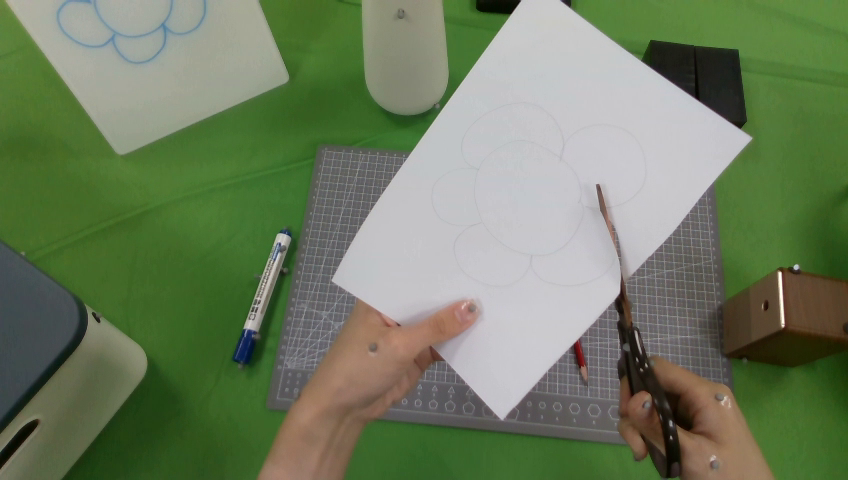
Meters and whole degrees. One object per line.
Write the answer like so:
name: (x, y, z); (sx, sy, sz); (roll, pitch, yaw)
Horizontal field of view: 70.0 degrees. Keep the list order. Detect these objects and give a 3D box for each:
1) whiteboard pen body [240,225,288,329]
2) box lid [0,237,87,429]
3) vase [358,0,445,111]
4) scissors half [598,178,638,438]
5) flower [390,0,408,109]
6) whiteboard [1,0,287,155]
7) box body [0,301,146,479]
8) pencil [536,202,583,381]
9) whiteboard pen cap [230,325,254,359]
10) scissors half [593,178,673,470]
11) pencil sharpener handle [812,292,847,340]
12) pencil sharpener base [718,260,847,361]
whiteboard pen body: (-0.167, 0.048, 0.623); (0.017, 0.017, 0.140); (11, 66, 5)
box lid: (-0.472, 0.062, 0.459); (0.370, 0.015, 0.262); (31, 70, 12)
vase: (-0.026, -0.227, 0.641); (0.098, 0.201, 0.097); (0, 66, 1)
scissors half: (0.121, 0.045, 0.374); (0.013, 0.040, 0.176); (-12, 111, 6)
flower: (-0.033, -0.273, 0.570); (0.044, 0.365, 0.038); (-2, 50, 3)
whiteboard: (-0.316, -0.286, 0.641); (0.217, 0.308, 0.142); (-27, 50, -10)
box body: (-0.470, 0.092, 0.527); (0.362, 0.161, 0.253); (30, 71, 12)
pencil: (0.141, 0.049, 0.628); (0.012, 0.012, 0.192); (-8, 69, -3)
whiteboard pen cap: (-0.179, 0.100, 0.600); (0.018, 0.018, 0.033); (11, 63, 5)
scissors half: (0.120, 0.049, 0.353); (0.013, 0.040, 0.175); (-13, 88, 1)
pencil sharpener handle: (0.388, 0.074, 0.555); (0.030, 0.068, 0.035); (9, 61, 1)
pencil sharpener base: (0.337, 0.070, 0.567); (0.077, 0.107, 0.061); (9, 67, 1)
